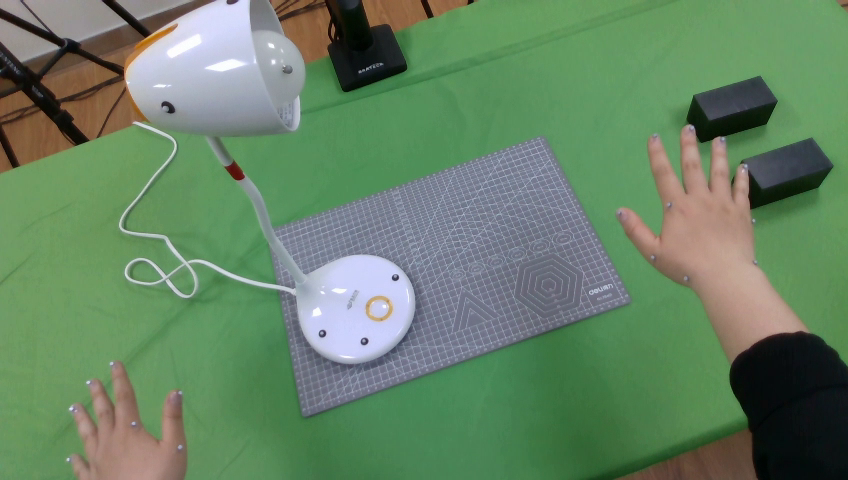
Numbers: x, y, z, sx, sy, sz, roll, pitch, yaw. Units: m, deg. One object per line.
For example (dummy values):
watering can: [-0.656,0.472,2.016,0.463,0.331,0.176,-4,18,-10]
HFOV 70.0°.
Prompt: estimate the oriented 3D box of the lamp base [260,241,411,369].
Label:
lamp base: [-0.121,0.060,0.760,0.178,0.182,0.159,3,62,15]

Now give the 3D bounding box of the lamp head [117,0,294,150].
lamp head: [-0.177,-0.124,0.494,0.123,0.113,0.111,-15,60,8]
